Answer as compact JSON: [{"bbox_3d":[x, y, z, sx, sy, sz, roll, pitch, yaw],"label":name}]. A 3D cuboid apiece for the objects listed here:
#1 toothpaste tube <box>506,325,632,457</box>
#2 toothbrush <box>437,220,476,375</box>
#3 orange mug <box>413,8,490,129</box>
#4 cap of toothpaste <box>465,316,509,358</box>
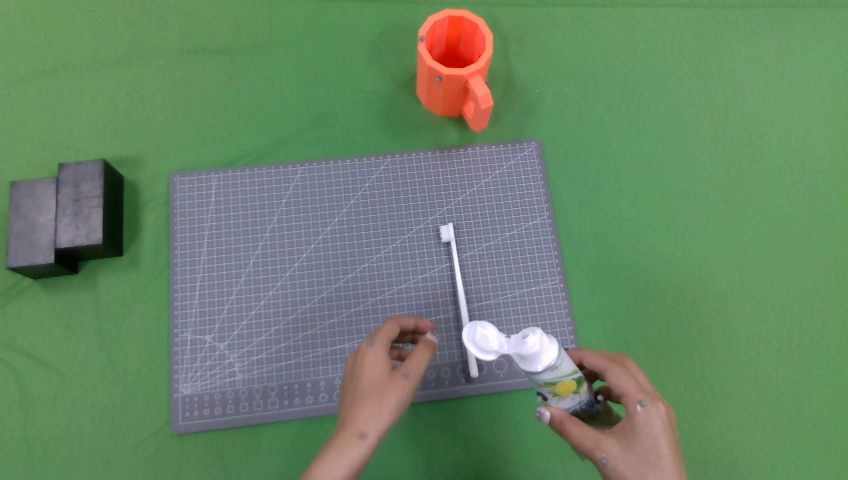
[{"bbox_3d":[0.115,0.125,0.493,0.055,0.034,0.167,-31,121,14],"label":"toothpaste tube"},{"bbox_3d":[0.037,0.063,0.690,0.016,0.014,0.180,-10,75,-1],"label":"toothbrush"},{"bbox_3d":[0.038,-0.198,0.723,0.083,0.101,0.125,-27,72,-10],"label":"orange mug"},{"bbox_3d":[0.048,0.073,0.462,0.037,0.011,0.037,15,50,-18],"label":"cap of toothpaste"}]
